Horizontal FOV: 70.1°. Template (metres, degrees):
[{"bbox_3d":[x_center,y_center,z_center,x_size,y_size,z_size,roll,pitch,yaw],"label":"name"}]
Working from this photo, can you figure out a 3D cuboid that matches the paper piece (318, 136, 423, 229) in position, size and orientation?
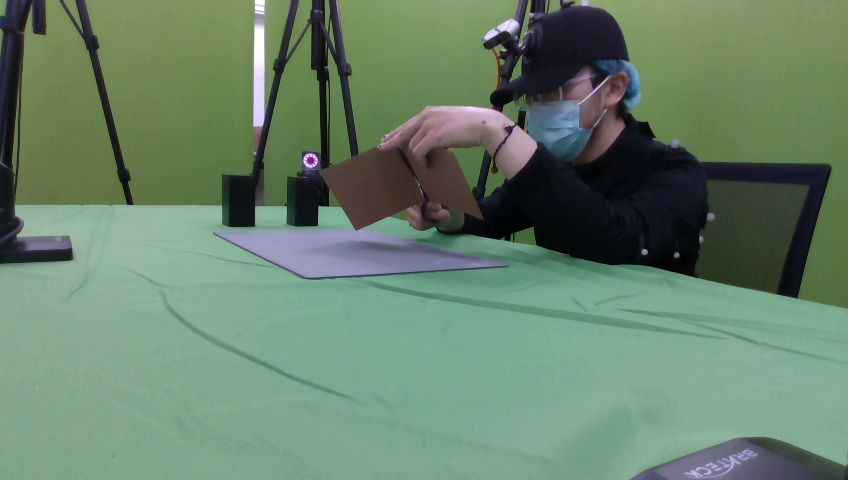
[{"bbox_3d":[-0.083,-0.092,0.999,0.136,0.136,0.004,-25,40,4],"label":"paper piece"}]

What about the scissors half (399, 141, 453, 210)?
[{"bbox_3d":[0.006,-0.110,1.024,0.013,0.040,0.176,17,-20,44],"label":"scissors half"}]

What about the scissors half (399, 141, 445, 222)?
[{"bbox_3d":[-0.007,-0.096,1.018,0.040,0.176,0.012,-43,39,-21],"label":"scissors half"}]

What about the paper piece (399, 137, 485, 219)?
[{"bbox_3d":[0.028,-0.098,0.941,0.008,0.136,0.137,-47,40,-15],"label":"paper piece"}]
